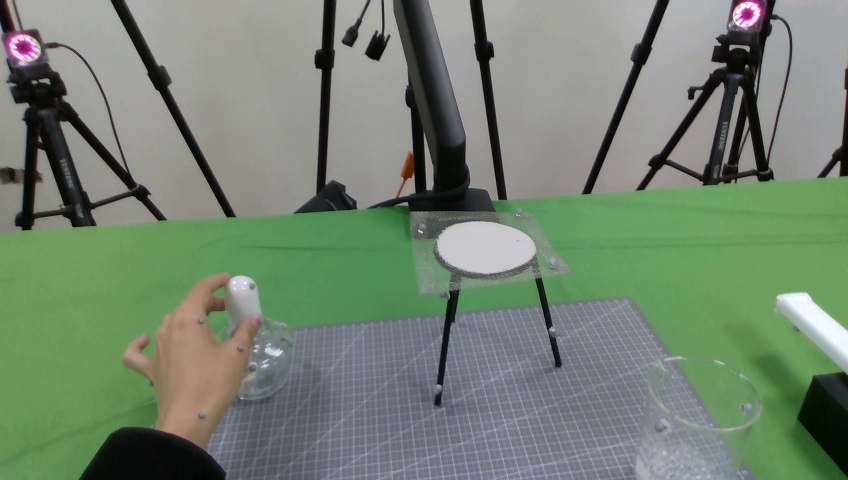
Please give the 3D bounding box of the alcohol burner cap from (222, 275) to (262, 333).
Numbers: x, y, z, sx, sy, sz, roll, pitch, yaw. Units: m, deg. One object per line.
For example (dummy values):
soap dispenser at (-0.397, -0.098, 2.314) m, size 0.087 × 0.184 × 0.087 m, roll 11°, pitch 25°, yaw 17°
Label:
alcohol burner cap at (-0.161, 0.054, 0.531) m, size 0.034 × 0.048 × 0.033 m, roll 2°, pitch 24°, yaw 0°

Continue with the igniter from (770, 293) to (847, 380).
igniter at (0.357, 0.120, 0.462) m, size 0.057 × 0.025 × 0.274 m, roll -4°, pitch 27°, yaw -2°

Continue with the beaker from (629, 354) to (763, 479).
beaker at (0.191, 0.144, 0.444) m, size 0.074 × 0.101 × 0.083 m, roll -14°, pitch 32°, yaw -19°

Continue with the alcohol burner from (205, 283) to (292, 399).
alcohol burner at (-0.161, 0.085, 0.548) m, size 0.078 × 0.120 × 0.077 m, roll 0°, pitch 32°, yaw 0°

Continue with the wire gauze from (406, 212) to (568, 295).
wire gauze at (0.048, 0.005, 0.521) m, size 0.121 × 0.011 × 0.124 m, roll -3°, pitch 31°, yaw -5°

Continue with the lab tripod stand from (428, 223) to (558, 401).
lab tripod stand at (0.055, 0.061, 0.559) m, size 0.148 × 0.132 × 0.147 m, roll 0°, pitch 29°, yaw 0°
